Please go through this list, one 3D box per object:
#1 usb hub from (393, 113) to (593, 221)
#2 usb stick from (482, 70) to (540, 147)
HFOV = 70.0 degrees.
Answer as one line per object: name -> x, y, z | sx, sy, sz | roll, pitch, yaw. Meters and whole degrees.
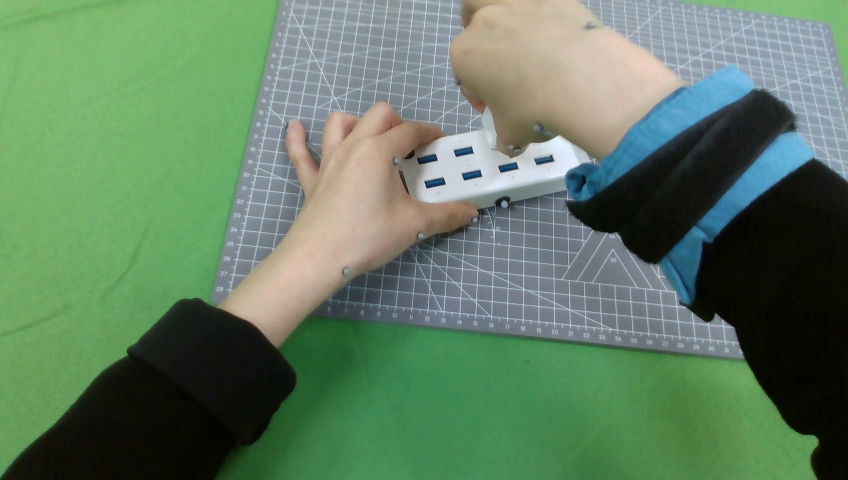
usb hub -> 0.045, -0.051, 0.405 | 0.125, 0.025, 0.049 | -12, 68, -11
usb stick -> 0.052, -0.079, 0.384 | 0.021, 0.059, 0.027 | -6, 66, -13
